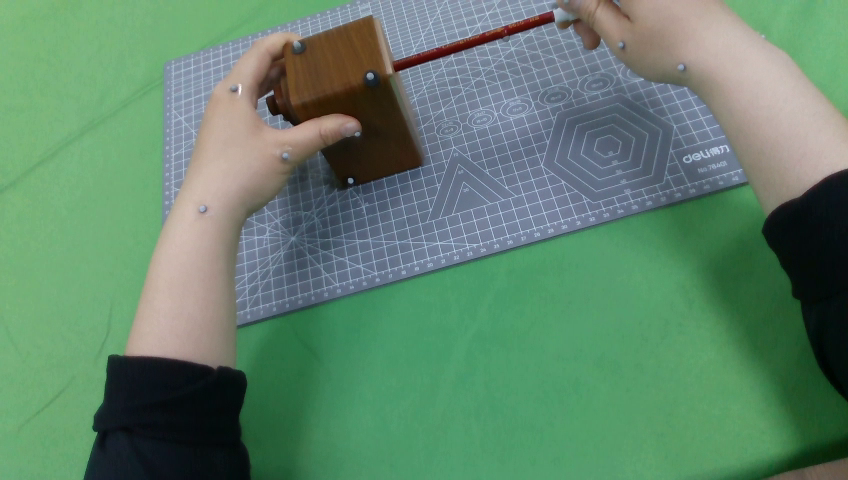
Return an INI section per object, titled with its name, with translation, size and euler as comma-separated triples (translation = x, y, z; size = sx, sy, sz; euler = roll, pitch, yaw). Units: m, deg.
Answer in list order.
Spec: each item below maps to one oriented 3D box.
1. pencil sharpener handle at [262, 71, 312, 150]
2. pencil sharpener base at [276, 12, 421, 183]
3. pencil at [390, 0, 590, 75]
[pencil sharpener handle]
translation = -0.105, -0.089, 0.440
size = 0.030, 0.068, 0.035
euler = -17, 63, 5
[pencil sharpener base]
translation = -0.054, -0.099, 0.447
size = 0.076, 0.108, 0.061
euler = -17, 61, 5
[pencil]
translation = 0.020, -0.133, 0.415
size = 0.194, 0.012, 0.012
euler = -19, 61, 5
